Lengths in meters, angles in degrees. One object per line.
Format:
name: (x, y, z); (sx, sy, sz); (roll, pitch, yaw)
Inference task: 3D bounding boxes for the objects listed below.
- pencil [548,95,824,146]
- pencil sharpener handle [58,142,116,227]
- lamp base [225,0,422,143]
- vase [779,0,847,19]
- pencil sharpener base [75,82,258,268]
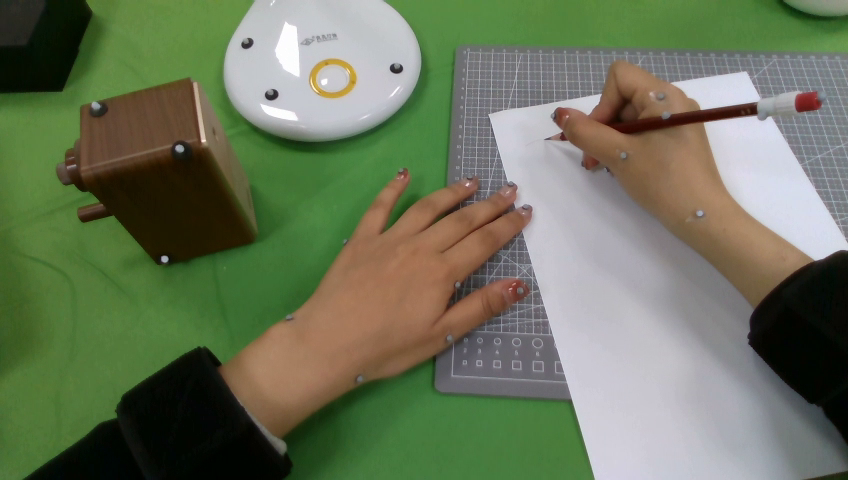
pencil: (0.144, -0.070, 0.377); (0.012, 0.012, 0.193); (-45, 23, -21)
pencil sharpener handle: (-0.211, -0.030, 0.375); (0.031, 0.068, 0.035); (-16, 63, -6)
lamp base: (-0.092, -0.191, 0.437); (0.161, 0.182, 0.177); (-25, 59, -12)
vase: (0.340, -0.270, 0.454); (0.098, 0.202, 0.097); (-2, 58, 3)
pencil sharpener base: (-0.161, -0.037, 0.391); (0.077, 0.108, 0.061); (-16, 60, -6)
